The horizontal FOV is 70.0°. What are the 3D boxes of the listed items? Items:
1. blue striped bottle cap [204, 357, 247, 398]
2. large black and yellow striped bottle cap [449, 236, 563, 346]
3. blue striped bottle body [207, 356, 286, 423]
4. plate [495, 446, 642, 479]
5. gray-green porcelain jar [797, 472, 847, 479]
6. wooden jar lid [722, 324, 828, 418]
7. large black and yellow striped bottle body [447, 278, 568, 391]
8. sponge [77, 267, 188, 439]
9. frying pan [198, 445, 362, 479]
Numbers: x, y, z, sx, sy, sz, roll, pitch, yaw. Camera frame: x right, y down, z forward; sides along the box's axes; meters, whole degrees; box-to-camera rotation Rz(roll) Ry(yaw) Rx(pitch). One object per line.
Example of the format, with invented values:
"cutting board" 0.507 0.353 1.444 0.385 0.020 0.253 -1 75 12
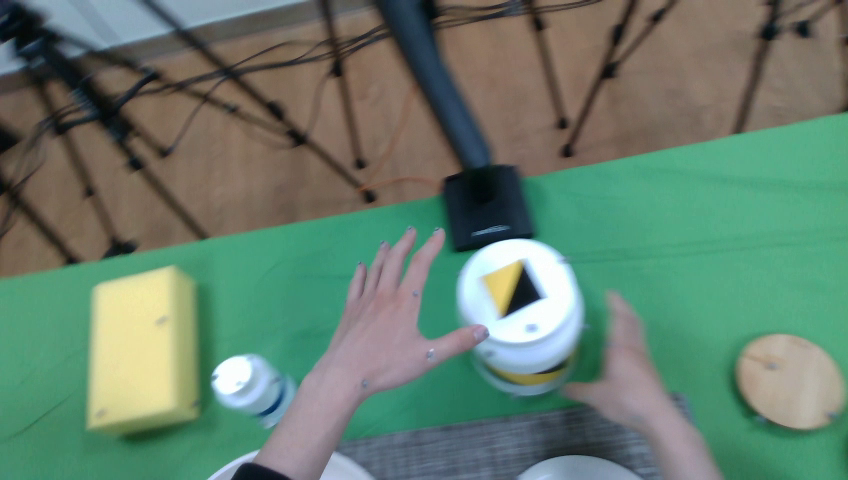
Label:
"blue striped bottle cap" -0.228 0.157 0.693 0.044 0.021 0.044 -4 65 8
"large black and yellow striped bottle cap" 0.082 0.049 0.612 0.115 0.019 0.114 -6 61 11
"blue striped bottle body" -0.218 0.181 0.738 0.063 0.122 0.062 -4 63 9
"plate" 0.156 0.326 0.639 0.209 0.038 0.207 -4 63 9
"gray-green porcelain jar" 0.377 0.282 0.574 0.106 0.127 0.105 -4 63 9
"wooden jar lid" 0.400 0.150 0.696 0.108 0.021 0.107 -4 65 9
"large black and yellow striped bottle body" 0.097 0.088 0.690 0.130 0.185 0.129 -4 63 9
"sponge" -0.391 0.151 0.819 0.118 0.061 0.205 -15 63 2
"frying pan" -0.148 0.459 0.593 0.306 0.104 0.482 -13 54 7
